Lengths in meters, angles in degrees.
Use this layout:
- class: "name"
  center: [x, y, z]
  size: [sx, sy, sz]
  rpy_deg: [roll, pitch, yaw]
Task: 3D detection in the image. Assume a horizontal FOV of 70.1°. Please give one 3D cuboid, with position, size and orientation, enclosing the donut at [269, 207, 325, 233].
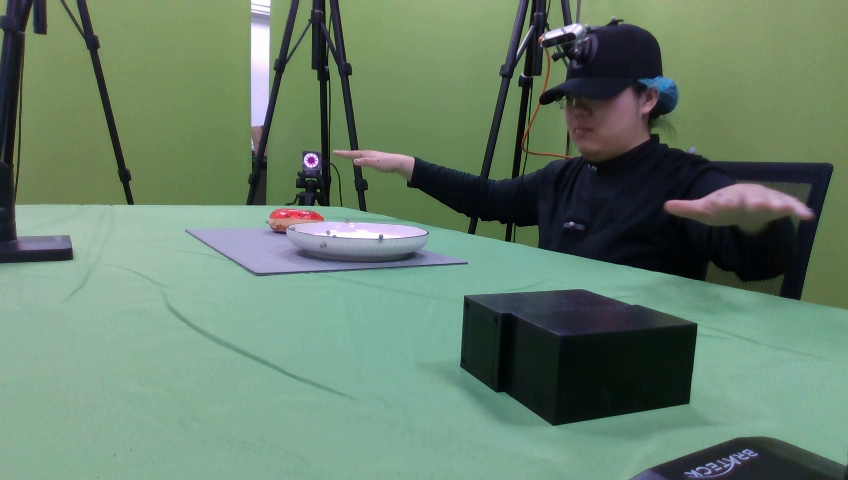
- class: "donut"
  center: [-0.230, -0.036, 1.098]
  size: [0.099, 0.048, 0.099]
  rpy_deg: [3, 5, 0]

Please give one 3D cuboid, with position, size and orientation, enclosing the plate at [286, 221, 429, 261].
- class: "plate"
  center: [-0.096, 0.001, 0.886]
  size: [0.209, 0.038, 0.209]
  rpy_deg: [2, 7, 0]

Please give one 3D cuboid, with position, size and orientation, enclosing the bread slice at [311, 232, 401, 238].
- class: "bread slice"
  center: [-0.101, 0.002, 0.885]
  size: [0.135, 0.018, 0.106]
  rpy_deg: [-3, 8, -38]
